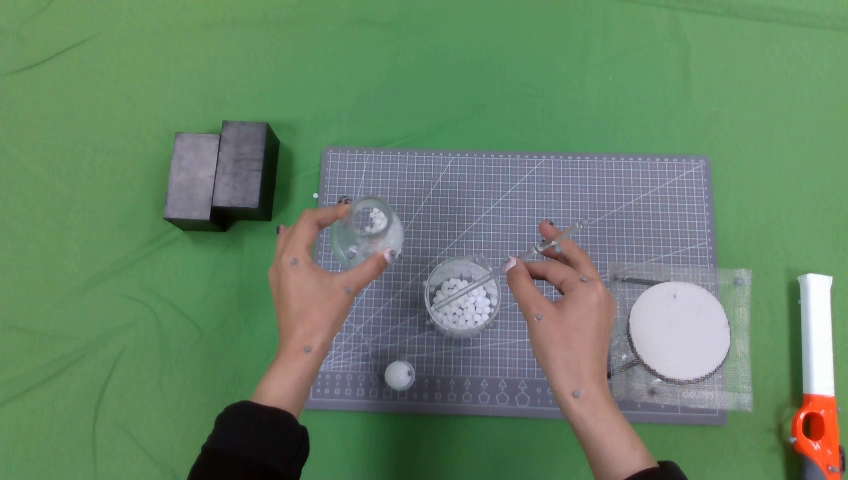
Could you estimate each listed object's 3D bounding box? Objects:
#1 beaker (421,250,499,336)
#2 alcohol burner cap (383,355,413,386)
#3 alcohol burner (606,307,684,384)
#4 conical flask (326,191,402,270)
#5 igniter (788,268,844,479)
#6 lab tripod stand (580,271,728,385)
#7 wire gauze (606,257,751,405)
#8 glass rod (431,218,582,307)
[{"bbox_3d":[0.037,0.057,0.622,0.074,0.101,0.083,24,78,7],"label":"beaker"},{"bbox_3d":[-0.028,0.137,0.635,0.034,0.048,0.033,0,79,0],"label":"alcohol burner cap"},{"bbox_3d":[0.223,0.103,0.601,0.078,0.119,0.077,-1,77,4],"label":"alcohol burner"},{"bbox_3d":[-0.053,-0.014,0.554,0.075,0.122,0.075,1,82,-7],"label":"conical flask"},{"bbox_3d":[0.406,0.166,0.629,0.057,0.025,0.275,8,77,-8],"label":"igniter"},{"bbox_3d":[0.222,0.094,0.592,0.148,0.132,0.147,0,79,2],"label":"lab tripod stand"},{"bbox_3d":[0.221,0.077,0.527,0.125,0.011,0.121,4,79,3],"label":"wire gauze"},{"bbox_3d":[0.064,0.026,0.531,0.008,0.200,0.008,18,56,-29],"label":"glass rod"}]
